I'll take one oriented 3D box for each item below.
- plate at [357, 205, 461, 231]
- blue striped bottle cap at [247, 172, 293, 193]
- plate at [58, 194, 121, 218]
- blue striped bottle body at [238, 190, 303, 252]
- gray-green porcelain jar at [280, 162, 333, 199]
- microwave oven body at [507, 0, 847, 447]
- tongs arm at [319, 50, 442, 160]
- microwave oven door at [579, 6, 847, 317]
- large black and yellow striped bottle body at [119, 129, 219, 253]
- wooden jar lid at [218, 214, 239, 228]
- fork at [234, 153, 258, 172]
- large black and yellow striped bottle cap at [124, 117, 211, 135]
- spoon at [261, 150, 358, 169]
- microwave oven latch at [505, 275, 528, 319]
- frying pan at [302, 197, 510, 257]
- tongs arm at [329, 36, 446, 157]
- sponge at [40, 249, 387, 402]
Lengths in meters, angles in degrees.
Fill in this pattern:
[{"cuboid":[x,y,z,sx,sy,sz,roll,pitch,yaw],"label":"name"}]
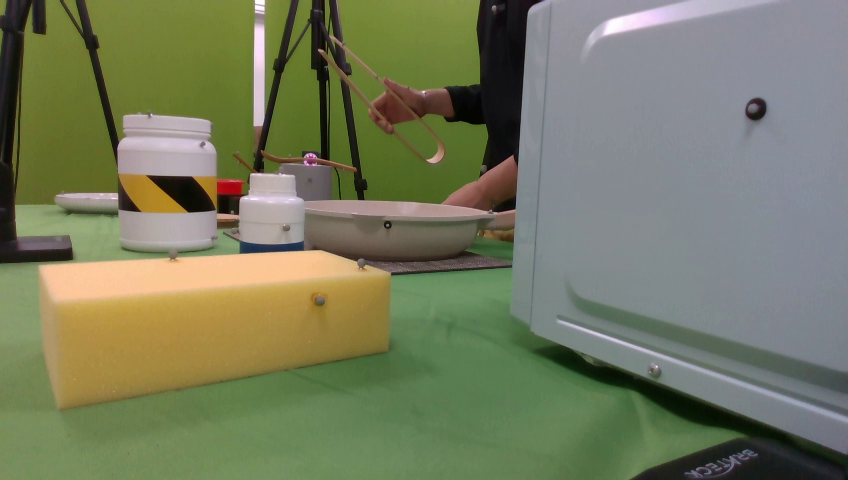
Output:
[{"cuboid":[-0.029,-0.044,1.213,0.208,0.039,0.207,1,7,0],"label":"plate"},{"cuboid":[-0.152,-0.057,0.598,0.044,0.020,0.044,3,7,0],"label":"blue striped bottle cap"},{"cuboid":[-0.671,-0.074,1.310,0.209,0.038,0.209,2,8,0],"label":"plate"},{"cuboid":[-0.153,-0.007,0.606,0.063,0.120,0.063,2,8,0],"label":"blue striped bottle body"},{"cuboid":[-0.238,-0.092,1.221,0.106,0.126,0.106,2,7,0],"label":"gray-green porcelain jar"},{"cuboid":[0.331,-0.042,0.425,0.444,0.260,0.324,-2,8,-31],"label":"microwave oven body"},{"cuboid":[-0.082,-0.271,1.271,0.027,0.028,0.389,27,-8,45],"label":"tongs arm"},{"cuboid":[0.294,-0.067,0.570,0.358,0.243,0.039,-3,9,-31],"label":"microwave oven door"},{"cuboid":[-0.367,-0.080,0.876,0.131,0.184,0.130,1,7,0],"label":"large black and yellow striped bottle body"},{"cuboid":[-0.404,-0.037,1.169,0.108,0.020,0.108,3,7,0],"label":"wooden jar lid"},{"cuboid":[-0.396,-0.143,1.486,0.028,0.018,0.208,20,-26,45],"label":"fork"},{"cuboid":[-0.366,-0.163,0.866,0.115,0.019,0.115,3,7,0],"label":"large black and yellow striped bottle cap"},{"cuboid":[-0.229,-0.162,1.222,0.194,0.021,0.041,3,3,-16],"label":"spoon"},{"cuboid":[0.100,0.041,0.471,0.079,0.029,0.030,-1,7,-28],"label":"microwave oven latch"},{"cuboid":[0.051,-0.035,0.915,0.487,0.102,0.307,-5,7,11],"label":"frying pan"},{"cuboid":[-0.068,-0.290,1.272,0.387,0.051,0.026,32,0,-44],"label":"tongs arm"},{"cuboid":[-0.142,0.047,0.420,0.208,0.061,0.117,-3,8,-36],"label":"sponge"}]
